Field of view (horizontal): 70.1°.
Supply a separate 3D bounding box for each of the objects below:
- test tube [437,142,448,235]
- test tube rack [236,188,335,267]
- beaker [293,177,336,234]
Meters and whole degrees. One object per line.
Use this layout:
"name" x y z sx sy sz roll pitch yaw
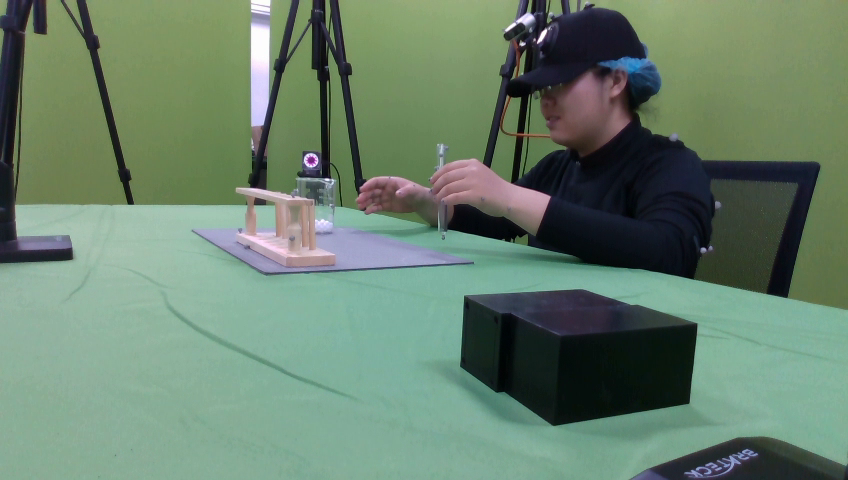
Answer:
"test tube" 0.030 -0.083 0.974 0.017 0.150 0.017 -1 -5 0
"test tube rack" -0.202 -0.024 0.855 0.067 0.085 0.241 -2 8 -31
"beaker" -0.197 -0.063 1.107 0.083 0.100 0.074 10 11 40
